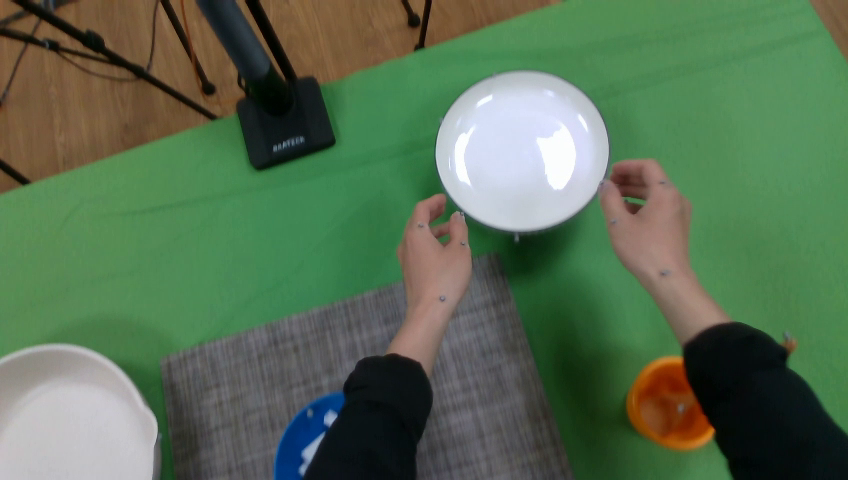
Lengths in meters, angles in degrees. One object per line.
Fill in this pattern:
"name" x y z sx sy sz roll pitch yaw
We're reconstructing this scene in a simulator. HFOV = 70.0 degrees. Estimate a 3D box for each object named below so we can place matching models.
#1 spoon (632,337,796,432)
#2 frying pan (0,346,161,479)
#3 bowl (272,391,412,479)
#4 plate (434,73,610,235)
"spoon" 0.295 0.151 0.628 0.022 0.194 0.041 -11 63 -44
"frying pan" -0.407 0.358 0.662 0.307 0.103 0.483 -22 63 0
"bowl" -0.082 0.246 0.671 0.151 0.077 0.150 -2 72 6
"plate" 0.117 -0.102 0.736 0.207 0.039 0.206 -2 74 6
